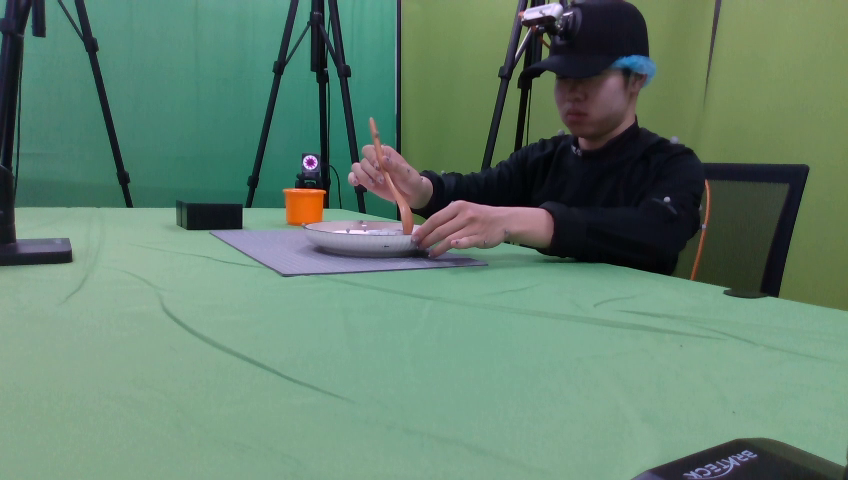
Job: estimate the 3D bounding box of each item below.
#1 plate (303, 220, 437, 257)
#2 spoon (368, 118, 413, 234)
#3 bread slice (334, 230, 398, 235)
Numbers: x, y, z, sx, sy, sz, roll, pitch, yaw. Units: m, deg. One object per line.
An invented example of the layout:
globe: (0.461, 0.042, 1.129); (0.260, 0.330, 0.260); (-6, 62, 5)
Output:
plate: (-0.084, -0.003, 0.951); (0.209, 0.038, 0.209); (3, 7, 0)
spoon: (-0.054, -0.096, 0.917); (0.021, 0.193, 0.042); (-25, -7, 17)
bread slice: (-0.088, -0.001, 0.946); (0.105, 0.019, 0.131); (-4, 10, -44)
